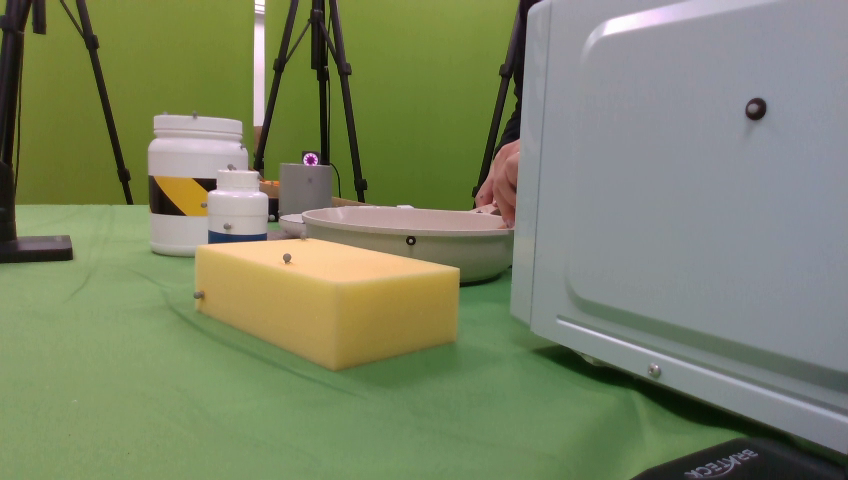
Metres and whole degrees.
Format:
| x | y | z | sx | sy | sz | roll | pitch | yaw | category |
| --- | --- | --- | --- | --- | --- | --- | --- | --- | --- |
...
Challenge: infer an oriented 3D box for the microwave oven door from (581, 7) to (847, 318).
| x | y | z | sx | sy | sz | roll | pitch | yaw | category |
| --- | --- | --- | --- | --- | --- | --- | --- | --- | --- |
| 0.295 | -0.067 | 0.569 | 0.358 | 0.243 | 0.039 | -3 | 8 | -31 | microwave oven door |

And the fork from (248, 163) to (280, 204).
| x | y | z | sx | sy | sz | roll | pitch | yaw | category |
| --- | --- | --- | --- | --- | --- | --- | --- | --- | --- |
| -0.396 | -0.143 | 1.486 | 0.028 | 0.018 | 0.208 | 20 | -26 | 45 | fork |

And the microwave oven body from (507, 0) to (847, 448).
| x | y | z | sx | sy | sz | roll | pitch | yaw | category |
| --- | --- | --- | --- | --- | --- | --- | --- | --- | --- |
| 0.331 | -0.042 | 0.425 | 0.444 | 0.260 | 0.324 | -2 | 8 | -31 | microwave oven body |

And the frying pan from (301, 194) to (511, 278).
| x | y | z | sx | sy | sz | roll | pitch | yaw | category |
| --- | --- | --- | --- | --- | --- | --- | --- | --- | --- |
| 0.050 | -0.029 | 0.864 | 0.305 | 0.102 | 0.490 | 8 | 18 | 35 | frying pan |

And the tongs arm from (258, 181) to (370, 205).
| x | y | z | sx | sy | sz | roll | pitch | yaw | category |
| --- | --- | --- | --- | --- | --- | --- | --- | --- | --- |
| -0.241 | -0.095 | 1.373 | 0.387 | 0.026 | 0.050 | 9 | 0 | -37 | tongs arm |

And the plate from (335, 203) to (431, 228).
| x | y | z | sx | sy | sz | roll | pitch | yaw | category |
| --- | --- | --- | --- | --- | --- | --- | --- | --- | --- |
| -0.089 | -0.053 | 1.309 | 0.208 | 0.039 | 0.207 | 2 | 8 | 0 | plate |

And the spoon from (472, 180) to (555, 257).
| x | y | z | sx | sy | sz | roll | pitch | yaw | category |
| --- | --- | --- | --- | --- | --- | --- | --- | --- | --- |
| 0.109 | -0.027 | 0.766 | 0.022 | 0.041 | 0.193 | -26 | -12 | -36 | spoon |

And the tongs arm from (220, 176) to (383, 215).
| x | y | z | sx | sy | sz | roll | pitch | yaw | category |
| --- | --- | --- | --- | --- | --- | --- | --- | --- | --- |
| -0.285 | -0.104 | 1.445 | 0.389 | 0.027 | 0.028 | 9 | -4 | -23 | tongs arm |

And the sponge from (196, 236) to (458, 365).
| x | y | z | sx | sy | sz | roll | pitch | yaw | category |
| --- | --- | --- | --- | --- | --- | --- | --- | --- | --- |
| -0.087 | 0.039 | 0.500 | 0.206 | 0.061 | 0.119 | 8 | 10 | 44 | sponge |

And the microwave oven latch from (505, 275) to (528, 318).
| x | y | z | sx | sy | sz | roll | pitch | yaw | category |
| --- | --- | --- | --- | --- | --- | --- | --- | --- | --- |
| 0.100 | 0.042 | 0.472 | 0.079 | 0.029 | 0.030 | -2 | 8 | -30 | microwave oven latch |

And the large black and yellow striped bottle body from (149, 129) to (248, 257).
| x | y | z | sx | sy | sz | roll | pitch | yaw | category |
| --- | --- | --- | --- | --- | --- | --- | --- | --- | --- |
| -0.315 | -0.075 | 0.854 | 0.131 | 0.184 | 0.130 | 2 | 7 | 0 | large black and yellow striped bottle body |

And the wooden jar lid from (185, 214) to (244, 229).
| x | y | z | sx | sy | sz | roll | pitch | yaw | category |
| --- | --- | --- | --- | --- | --- | --- | --- | --- | --- |
| -0.404 | -0.037 | 1.169 | 0.108 | 0.020 | 0.108 | 3 | 7 | 0 | wooden jar lid |

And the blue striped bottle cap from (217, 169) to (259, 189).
| x | y | z | sx | sy | sz | roll | pitch | yaw | category |
| --- | --- | --- | --- | --- | --- | --- | --- | --- | --- |
| -0.202 | -0.067 | 0.656 | 0.044 | 0.020 | 0.044 | 0 | 10 | 0 | blue striped bottle cap |

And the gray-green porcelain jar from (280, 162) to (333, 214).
| x | y | z | sx | sy | sz | roll | pitch | yaw | category |
| --- | --- | --- | --- | --- | --- | --- | --- | --- | --- |
| -0.238 | -0.092 | 1.221 | 0.106 | 0.126 | 0.106 | 2 | 7 | 0 | gray-green porcelain jar |

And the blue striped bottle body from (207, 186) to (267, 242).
| x | y | z | sx | sy | sz | roll | pitch | yaw | category |
| --- | --- | --- | --- | --- | --- | --- | --- | --- | --- |
| -0.204 | -0.016 | 0.663 | 0.063 | 0.120 | 0.063 | 2 | 7 | 0 | blue striped bottle body |

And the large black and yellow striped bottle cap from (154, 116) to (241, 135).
| x | y | z | sx | sy | sz | roll | pitch | yaw | category |
| --- | --- | --- | --- | --- | --- | --- | --- | --- | --- |
| -0.314 | -0.158 | 0.843 | 0.115 | 0.019 | 0.115 | 3 | 7 | 0 | large black and yellow striped bottle cap |

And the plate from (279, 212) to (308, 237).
| x | y | z | sx | sy | sz | roll | pitch | yaw | category |
| --- | --- | --- | --- | --- | --- | --- | --- | --- | --- |
| -0.139 | -0.022 | 1.021 | 0.209 | 0.038 | 0.209 | 2 | 8 | 0 | plate |
